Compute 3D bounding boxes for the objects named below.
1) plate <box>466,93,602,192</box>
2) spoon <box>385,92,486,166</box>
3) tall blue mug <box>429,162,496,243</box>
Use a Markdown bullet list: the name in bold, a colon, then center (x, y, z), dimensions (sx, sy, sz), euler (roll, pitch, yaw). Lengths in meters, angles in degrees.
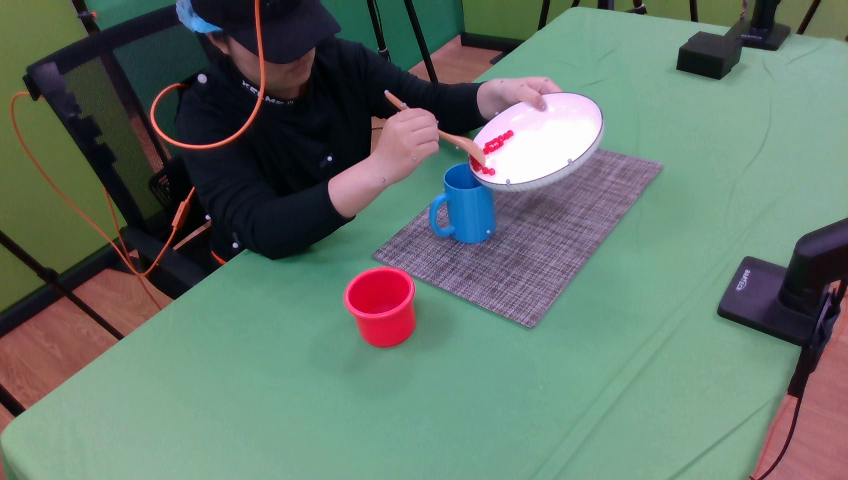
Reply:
- **plate**: center (0.167, -0.142, 0.912), dimensions (0.207, 0.039, 0.206), euler (-18, 41, 17)
- **spoon**: center (0.021, -0.164, 0.898), dimensions (0.195, 0.021, 0.041), euler (26, 38, -25)
- **tall blue mug**: center (0.067, -0.051, 0.960), dimensions (0.077, 0.108, 0.107), euler (18, 47, 27)
